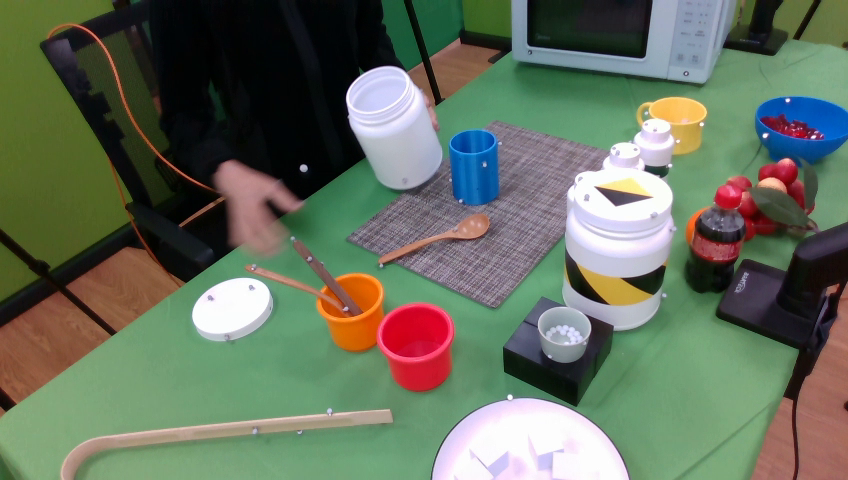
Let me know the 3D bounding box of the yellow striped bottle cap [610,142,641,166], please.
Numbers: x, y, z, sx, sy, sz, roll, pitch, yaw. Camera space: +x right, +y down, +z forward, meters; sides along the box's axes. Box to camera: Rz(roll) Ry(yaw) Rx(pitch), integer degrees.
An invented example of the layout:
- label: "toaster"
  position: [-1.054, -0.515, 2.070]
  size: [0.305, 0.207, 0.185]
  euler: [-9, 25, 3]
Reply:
- label: "yellow striped bottle cap"
  position: [0.308, -0.131, 0.925]
  size: [0.044, 0.019, 0.044]
  euler: [-4, 46, 5]

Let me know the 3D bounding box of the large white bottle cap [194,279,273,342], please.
- label: "large white bottle cap"
  position: [-0.284, 0.103, 0.902]
  size: [0.115, 0.018, 0.114]
  euler: [-4, 40, 4]

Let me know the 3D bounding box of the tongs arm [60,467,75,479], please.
- label: "tongs arm"
  position: [-0.239, 0.301, 0.649]
  size: [0.386, 0.028, 0.028]
  euler: [6, 49, 16]

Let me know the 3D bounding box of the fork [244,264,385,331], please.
- label: "fork"
  position: [-0.142, 0.078, 0.806]
  size: [0.209, 0.018, 0.028]
  euler: [30, 33, -23]

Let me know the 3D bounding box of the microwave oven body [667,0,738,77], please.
- label: "microwave oven body"
  position: [0.462, -0.552, 1.369]
  size: [0.439, 0.261, 0.326]
  euler: [15, 45, 26]

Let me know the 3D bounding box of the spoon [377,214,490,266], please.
- label: "spoon"
  position: [0.016, 0.002, 0.966]
  size: [0.194, 0.022, 0.041]
  euler: [-18, 63, -12]

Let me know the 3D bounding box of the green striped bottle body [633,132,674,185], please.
- label: "green striped bottle body"
  position: [0.376, -0.135, 1.001]
  size: [0.063, 0.120, 0.063]
  euler: [-5, 40, 5]

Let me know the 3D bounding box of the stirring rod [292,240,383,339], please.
- label: "stirring rod"
  position: [-0.118, 0.068, 0.826]
  size: [0.176, 0.006, 0.014]
  euler: [49, 59, -4]

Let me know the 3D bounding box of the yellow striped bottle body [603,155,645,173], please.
- label: "yellow striped bottle body"
  position: [0.314, -0.090, 0.957]
  size: [0.063, 0.121, 0.062]
  euler: [-4, 40, 4]

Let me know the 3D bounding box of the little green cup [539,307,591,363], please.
- label: "little green cup"
  position: [0.167, 0.114, 0.721]
  size: [0.061, 0.039, 0.061]
  euler: [-4, 43, 4]

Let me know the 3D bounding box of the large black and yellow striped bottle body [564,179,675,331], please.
- label: "large black and yellow striped bottle body"
  position: [0.253, 0.014, 0.793]
  size: [0.131, 0.185, 0.130]
  euler: [-5, 40, 4]

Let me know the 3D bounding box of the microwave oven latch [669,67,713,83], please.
- label: "microwave oven latch"
  position: [0.556, -0.349, 1.261]
  size: [0.078, 0.029, 0.030]
  euler: [16, 46, 27]

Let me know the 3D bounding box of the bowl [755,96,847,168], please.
- label: "bowl"
  position: [0.645, -0.177, 1.041]
  size: [0.151, 0.077, 0.150]
  euler: [-5, 40, 4]

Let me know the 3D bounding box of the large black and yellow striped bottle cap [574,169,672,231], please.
- label: "large black and yellow striped bottle cap"
  position: [0.242, -0.051, 0.738]
  size: [0.115, 0.019, 0.114]
  euler: [-4, 37, 3]

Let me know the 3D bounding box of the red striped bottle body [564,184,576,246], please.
- label: "red striped bottle body"
  position: [0.247, -0.041, 0.910]
  size: [0.063, 0.120, 0.062]
  euler: [-3, 39, 3]

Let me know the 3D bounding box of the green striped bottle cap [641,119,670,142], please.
- label: "green striped bottle cap"
  position: [0.371, -0.175, 0.968]
  size: [0.044, 0.020, 0.044]
  euler: [-5, 42, 5]

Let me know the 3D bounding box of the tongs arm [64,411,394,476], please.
- label: "tongs arm"
  position: [-0.228, 0.241, 0.715]
  size: [0.385, 0.026, 0.050]
  euler: [-5, 44, 4]

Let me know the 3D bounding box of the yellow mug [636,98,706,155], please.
- label: "yellow mug"
  position: [0.453, -0.217, 1.128]
  size: [0.100, 0.064, 0.129]
  euler: [-34, 46, -27]

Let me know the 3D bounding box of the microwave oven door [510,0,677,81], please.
- label: "microwave oven door"
  position: [0.353, -0.478, 1.290]
  size: [0.353, 0.245, 0.039]
  euler: [15, 45, 25]

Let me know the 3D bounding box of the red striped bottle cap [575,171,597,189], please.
- label: "red striped bottle cap"
  position: [0.242, -0.081, 0.876]
  size: [0.044, 0.018, 0.044]
  euler: [-5, 44, 5]

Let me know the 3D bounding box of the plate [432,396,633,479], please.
- label: "plate"
  position: [0.112, 0.261, 0.634]
  size: [0.209, 0.038, 0.208]
  euler: [-5, 40, 4]

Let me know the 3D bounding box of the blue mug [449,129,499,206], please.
- label: "blue mug"
  position: [0.091, -0.134, 1.051]
  size: [0.082, 0.106, 0.116]
  euler: [4, 41, 13]

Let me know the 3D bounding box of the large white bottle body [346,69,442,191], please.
- label: "large white bottle body"
  position: [-0.052, -0.188, 1.042]
  size: [0.130, 0.186, 0.130]
  euler: [-9, 53, 12]
